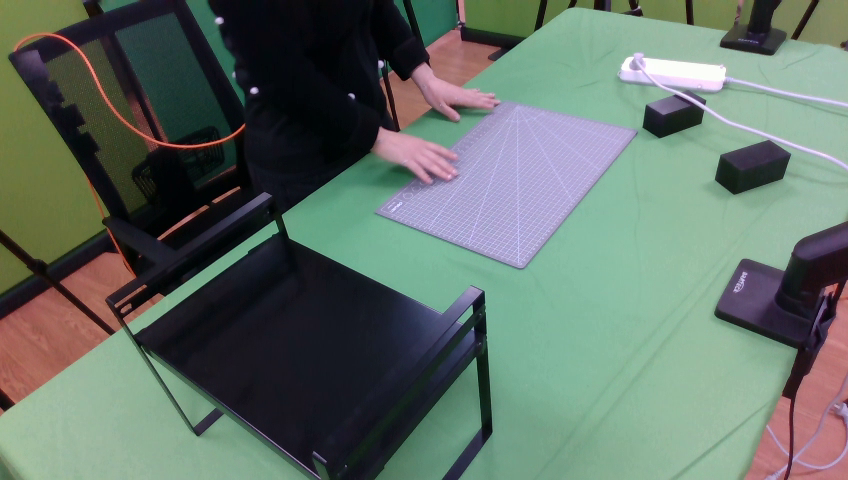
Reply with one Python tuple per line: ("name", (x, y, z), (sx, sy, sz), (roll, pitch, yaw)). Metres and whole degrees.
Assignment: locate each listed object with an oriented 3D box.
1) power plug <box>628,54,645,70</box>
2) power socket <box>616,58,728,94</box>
("power plug", (0.450, -0.371, 1.300), (0.035, 0.053, 0.073), (23, 49, 31))
("power socket", (0.531, -0.355, 1.303), (0.225, 0.033, 0.072), (15, 46, 23))
